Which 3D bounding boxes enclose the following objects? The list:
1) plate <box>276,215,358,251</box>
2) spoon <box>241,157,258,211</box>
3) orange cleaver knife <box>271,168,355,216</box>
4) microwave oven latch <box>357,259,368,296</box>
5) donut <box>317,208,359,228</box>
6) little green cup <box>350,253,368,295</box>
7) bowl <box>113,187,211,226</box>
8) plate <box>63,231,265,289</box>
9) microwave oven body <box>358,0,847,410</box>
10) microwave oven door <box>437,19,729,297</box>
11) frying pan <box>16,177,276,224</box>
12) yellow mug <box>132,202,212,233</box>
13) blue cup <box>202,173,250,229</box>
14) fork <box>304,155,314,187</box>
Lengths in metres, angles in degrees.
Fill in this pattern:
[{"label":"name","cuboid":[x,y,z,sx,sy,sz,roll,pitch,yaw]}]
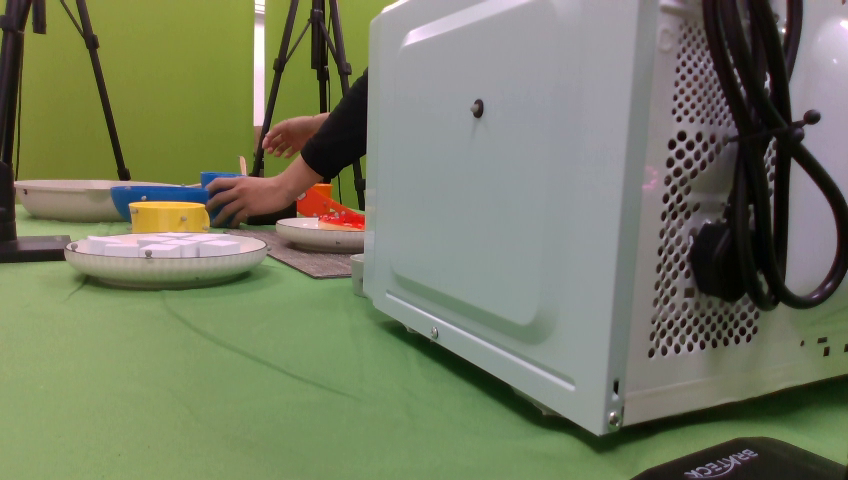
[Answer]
[{"label":"plate","cuboid":[-0.126,-0.012,0.950,0.209,0.038,0.209,2,7,0]},{"label":"spoon","cuboid":[-0.432,-0.139,1.472,0.042,0.021,0.193,-2,52,-19]},{"label":"orange cleaver knife","cuboid":[-0.236,-0.084,1.332,0.212,0.077,0.012,31,-9,-31]},{"label":"microwave oven latch","cuboid":[-0.019,0.031,0.528,0.079,0.029,0.030,-1,7,-25]},{"label":"donut","cuboid":[-0.118,-0.024,0.954,0.099,0.048,0.099,6,7,0]},{"label":"little green cup","cuboid":[-0.048,0.035,0.632,0.061,0.038,0.061,3,6,0]},{"label":"bowl","cuboid":[-0.436,-0.046,1.013,0.151,0.077,0.151,2,7,0]},{"label":"plate","cuboid":[-0.288,0.021,0.687,0.208,0.039,0.207,2,8,0]},{"label":"microwave oven body","cuboid":[0.210,-0.051,0.471,0.444,0.260,0.324,-1,7,-28]},{"label":"microwave oven door","cuboid":[0.180,-0.076,0.618,0.358,0.243,0.039,-2,8,-28]},{"label":"frying pan","cuboid":[-0.554,-0.097,1.266,0.490,0.102,0.305,-10,13,-24]},{"label":"yellow mug","cuboid":[-0.356,-0.020,0.878,0.099,0.064,0.131,5,7,22]},{"label":"blue cup","cuboid":[-0.383,-0.075,1.164,0.093,0.100,0.092,4,9,0]},{"label":"fork","cuboid":[-0.268,-0.134,1.446,0.028,0.018,0.207,3,-36,0]}]
